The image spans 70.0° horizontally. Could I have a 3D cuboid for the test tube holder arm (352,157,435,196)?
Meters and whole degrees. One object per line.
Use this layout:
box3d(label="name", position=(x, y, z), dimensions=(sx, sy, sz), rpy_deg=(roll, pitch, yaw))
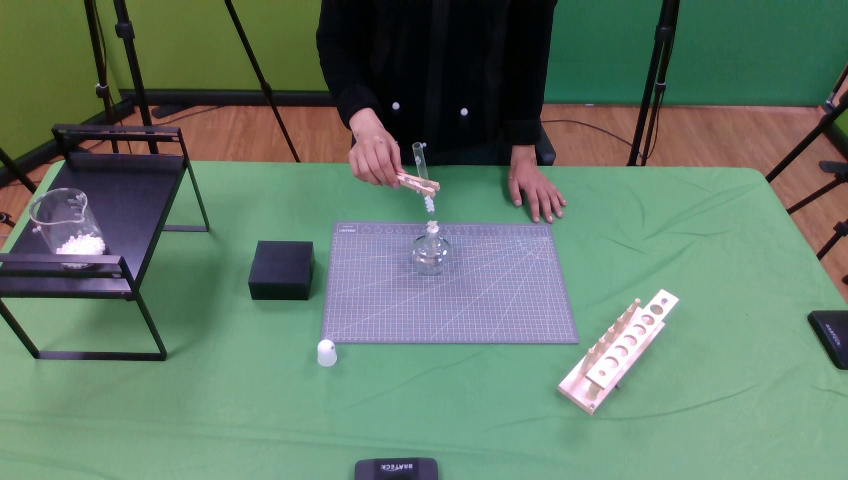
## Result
box3d(label="test tube holder arm", position=(-0.056, -0.111, 1.045), dimensions=(0.177, 0.015, 0.013), rpy_deg=(22, 52, 27))

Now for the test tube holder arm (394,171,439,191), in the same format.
box3d(label="test tube holder arm", position=(-0.015, -0.101, 1.029), dimensions=(0.087, 0.015, 0.010), rpy_deg=(16, 50, 23))

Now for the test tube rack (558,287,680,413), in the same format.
box3d(label="test tube rack", position=(0.326, 0.170, 1.009), dimensions=(0.066, 0.085, 0.242), rpy_deg=(36, 54, 27))

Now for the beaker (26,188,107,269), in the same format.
box3d(label="beaker", position=(-0.504, -0.013, 0.868), dimensions=(0.084, 0.101, 0.074), rpy_deg=(23, 49, 17))

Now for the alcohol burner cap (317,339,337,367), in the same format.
box3d(label="alcohol burner cap", position=(-0.161, 0.182, 0.995), dimensions=(0.034, 0.048, 0.033), rpy_deg=(2, 47, -2))

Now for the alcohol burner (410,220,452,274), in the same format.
box3d(label="alcohol burner", position=(0.013, 0.007, 1.120), dimensions=(0.078, 0.120, 0.077), rpy_deg=(1, 48, 0))

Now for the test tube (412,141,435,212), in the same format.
box3d(label="test tube", position=(0.000, -0.102, 1.005), dimensions=(0.017, 0.151, 0.017), rpy_deg=(-6, 47, 7))
